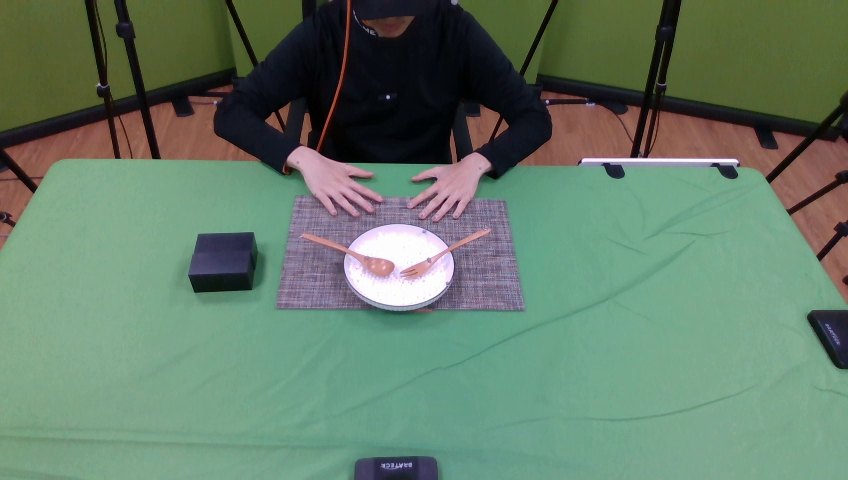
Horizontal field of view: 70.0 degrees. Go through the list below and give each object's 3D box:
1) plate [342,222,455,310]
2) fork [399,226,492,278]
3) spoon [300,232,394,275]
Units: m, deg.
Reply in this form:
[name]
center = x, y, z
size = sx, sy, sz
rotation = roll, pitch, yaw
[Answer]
[plate]
center = -0.047, 0.052, 1.127
size = 0.209, 0.038, 0.208
rotation = 2, 46, -2
[fork]
center = 0.044, 0.021, 1.144
size = 0.207, 0.019, 0.028
rotation = -29, 53, -18
[spoon]
center = -0.145, 0.020, 1.126
size = 0.193, 0.022, 0.041
rotation = 24, 53, 8
